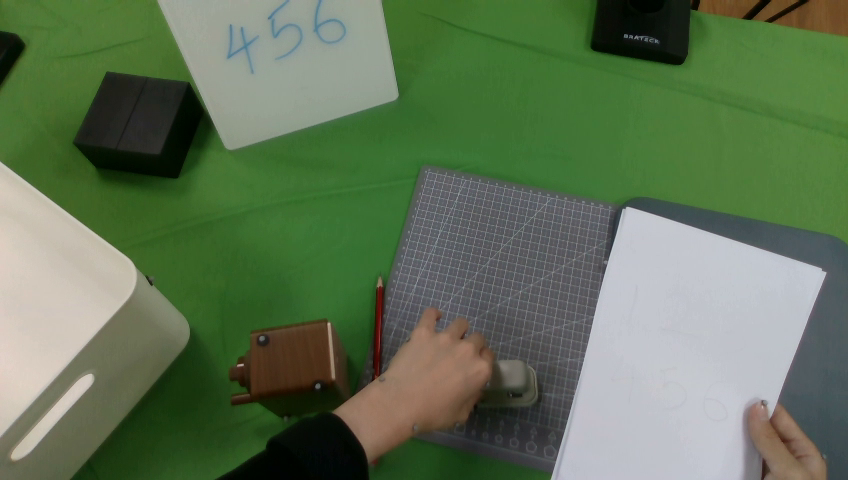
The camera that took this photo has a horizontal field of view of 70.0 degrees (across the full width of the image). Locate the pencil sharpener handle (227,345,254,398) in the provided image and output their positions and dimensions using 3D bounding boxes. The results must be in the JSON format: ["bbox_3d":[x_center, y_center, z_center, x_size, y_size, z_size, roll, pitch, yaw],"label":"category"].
[{"bbox_3d":[-0.166,0.122,0.540,0.031,0.068,0.035,-8,49,-3],"label":"pencil sharpener handle"}]

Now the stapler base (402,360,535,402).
[{"bbox_3d":[0.042,0.134,0.587,0.130,0.024,0.041,-2,63,6],"label":"stapler base"}]

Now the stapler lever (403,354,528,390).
[{"bbox_3d":[0.037,0.124,0.563,0.118,0.040,0.026,-3,63,6],"label":"stapler lever"}]

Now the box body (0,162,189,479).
[{"bbox_3d":[-0.437,0.058,0.551,0.362,0.161,0.253,32,70,13],"label":"box body"}]

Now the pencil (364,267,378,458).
[{"bbox_3d":[-0.051,0.117,0.607,0.012,0.012,0.192,-1,67,0],"label":"pencil"}]

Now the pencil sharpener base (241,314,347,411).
[{"bbox_3d":[-0.116,0.116,0.557,0.077,0.108,0.061,-8,66,-3],"label":"pencil sharpener base"}]

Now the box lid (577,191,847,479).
[{"bbox_3d":[0.302,0.129,0.606,0.263,0.015,0.369,12,67,4],"label":"box lid"}]

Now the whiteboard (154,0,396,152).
[{"bbox_3d":[-0.175,-0.288,0.662,0.217,0.308,0.142,-19,48,-8],"label":"whiteboard"}]
